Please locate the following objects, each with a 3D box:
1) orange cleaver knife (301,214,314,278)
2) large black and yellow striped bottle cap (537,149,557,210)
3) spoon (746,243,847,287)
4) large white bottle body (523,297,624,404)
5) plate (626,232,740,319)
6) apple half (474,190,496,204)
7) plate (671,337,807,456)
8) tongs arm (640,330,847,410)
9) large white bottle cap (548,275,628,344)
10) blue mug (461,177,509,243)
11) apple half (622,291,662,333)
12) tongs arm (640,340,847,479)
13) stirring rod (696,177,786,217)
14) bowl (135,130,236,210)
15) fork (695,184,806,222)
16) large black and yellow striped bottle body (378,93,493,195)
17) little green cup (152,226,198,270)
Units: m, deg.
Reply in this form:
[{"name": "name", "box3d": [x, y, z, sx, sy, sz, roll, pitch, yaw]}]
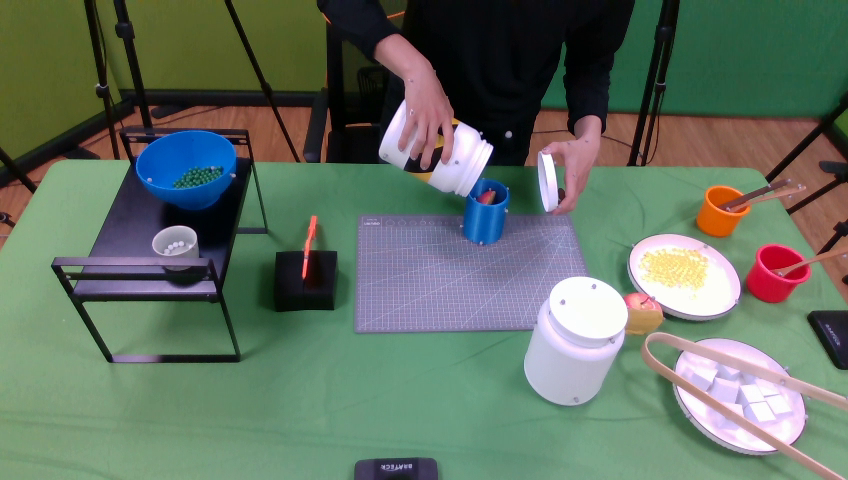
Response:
[{"name": "orange cleaver knife", "box3d": [-0.218, 0.008, 1.131, 0.012, 0.077, 0.210, 7, 19, -9]}, {"name": "large black and yellow striped bottle cap", "box3d": [0.230, -0.113, 1.135, 0.019, 0.115, 0.114, -8, 47, 4]}, {"name": "spoon", "box3d": [0.702, 0.043, 1.126, 0.194, 0.022, 0.041, -29, 38, 30]}, {"name": "large white bottle body", "box3d": [0.235, 0.159, 0.952, 0.131, 0.185, 0.130, 2, 47, -2]}, {"name": "plate", "box3d": [0.489, 0.070, 1.157, 0.209, 0.038, 0.208, 3, 46, -3]}, {"name": "apple half", "box3d": [0.109, -0.067, 1.200, 0.033, 0.081, 0.081, 28, 50, 11]}, {"name": "plate", "box3d": [0.504, 0.254, 0.984, 0.208, 0.039, 0.206, 2, 46, -2]}, {"name": "tongs arm", "box3d": [0.543, 0.225, 0.969, 0.384, 0.026, 0.050, 22, 52, 13]}, {"name": "large white bottle cap", "box3d": [0.240, 0.100, 0.890, 0.115, 0.018, 0.114, 3, 47, -3]}, {"name": "blue mug", "box3d": [0.114, -0.070, 1.210, 0.082, 0.106, 0.115, -12, 48, -15]}, {"name": "apple half", "box3d": [0.372, 0.124, 1.074, 0.081, 0.075, 0.053, 0, 42, 1]}, {"name": "tongs arm", "box3d": [0.500, 0.277, 0.919, 0.386, 0.028, 0.028, 34, 59, 22]}, {"name": "stirring rod", "box3d": [0.648, -0.087, 1.244, 0.176, 0.006, 0.014, -25, 50, 29]}, {"name": "bowl", "box3d": [-0.375, -0.102, 0.978, 0.151, 0.077, 0.150, 2, 46, -2]}, {"name": "fork", "box3d": [0.658, -0.074, 1.229, 0.207, 0.019, 0.028, -24, 33, 36]}, {"name": "large black and yellow striped bottle body", "box3d": [0.021, -0.172, 1.117, 0.184, 0.131, 0.130, 28, 48, -3]}, {"name": "little green cup", "box3d": [-0.364, 0.013, 0.894, 0.061, 0.039, 0.061, 3, 46, -3]}]
